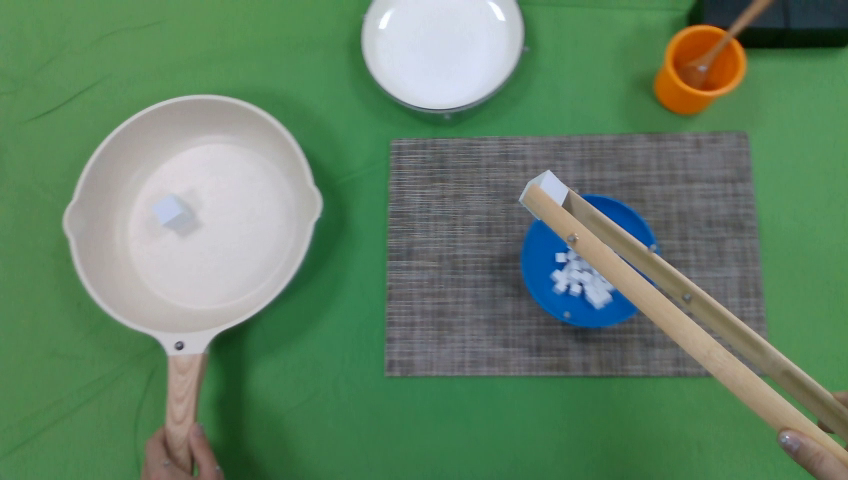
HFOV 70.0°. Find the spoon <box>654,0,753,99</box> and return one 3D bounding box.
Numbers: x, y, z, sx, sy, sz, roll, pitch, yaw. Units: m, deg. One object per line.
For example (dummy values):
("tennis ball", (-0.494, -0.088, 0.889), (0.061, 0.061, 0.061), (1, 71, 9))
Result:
("spoon", (0.345, -0.245, 0.709), (0.041, 0.194, 0.021), (48, 41, 13))

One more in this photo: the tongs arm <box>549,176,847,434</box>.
("tongs arm", (0.243, 0.066, 0.524), (0.051, 0.027, 0.381), (-22, 55, -42))

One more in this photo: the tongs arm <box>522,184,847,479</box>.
("tongs arm", (0.222, 0.073, 0.506), (0.384, 0.028, 0.028), (45, 129, 27))

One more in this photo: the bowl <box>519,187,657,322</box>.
("bowl", (0.182, 0.022, 0.699), (0.151, 0.077, 0.150), (0, 80, 3))

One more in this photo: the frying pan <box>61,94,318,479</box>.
("frying pan", (-0.270, 0.068, 0.705), (0.307, 0.103, 0.484), (-3, 71, 3))

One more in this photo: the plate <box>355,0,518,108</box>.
("plate", (0.017, -0.266, 0.786), (0.207, 0.039, 0.206), (-1, 79, 3))
